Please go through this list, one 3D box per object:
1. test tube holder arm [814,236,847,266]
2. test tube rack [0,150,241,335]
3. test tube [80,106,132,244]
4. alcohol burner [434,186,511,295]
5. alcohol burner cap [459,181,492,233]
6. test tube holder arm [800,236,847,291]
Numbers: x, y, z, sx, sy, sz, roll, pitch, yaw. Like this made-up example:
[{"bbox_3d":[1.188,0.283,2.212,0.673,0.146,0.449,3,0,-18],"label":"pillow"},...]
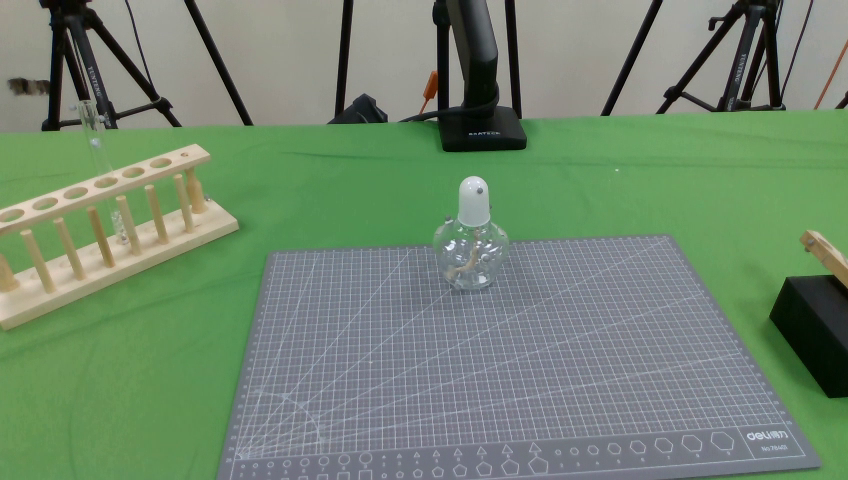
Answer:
[{"bbox_3d":[0.391,0.053,0.522,0.013,0.015,0.176,1,36,-12],"label":"test tube holder arm"},{"bbox_3d":[-0.321,-0.007,0.624,0.242,0.086,0.066,-28,45,-33],"label":"test tube rack"},{"bbox_3d":[-0.320,-0.062,0.616,0.017,0.151,0.017,0,30,1],"label":"test tube"},{"bbox_3d":[0.048,-0.005,0.595,0.078,0.120,0.077,1,38,0],"label":"alcohol burner"},{"bbox_3d":[0.049,-0.034,0.574,0.034,0.048,0.033,-1,40,1],"label":"alcohol burner cap"},{"bbox_3d":[0.378,0.026,0.556,0.010,0.015,0.087,1,36,-11],"label":"test tube holder arm"}]
